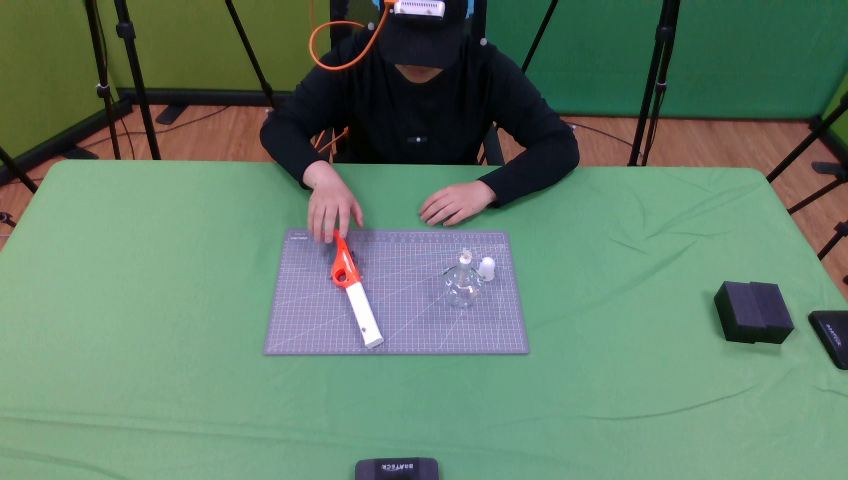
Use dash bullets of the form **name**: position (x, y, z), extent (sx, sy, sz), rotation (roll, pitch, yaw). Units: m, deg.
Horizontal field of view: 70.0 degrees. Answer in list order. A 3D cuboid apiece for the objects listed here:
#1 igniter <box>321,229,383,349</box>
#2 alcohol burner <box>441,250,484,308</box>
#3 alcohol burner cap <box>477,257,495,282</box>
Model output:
- **igniter**: position (-0.134, 0.078, 1.102), extent (0.057, 0.025, 0.274), rotation (-28, 53, 0)
- **alcohol burner**: position (0.069, 0.064, 1.075), extent (0.078, 0.120, 0.077), rotation (1, 45, -1)
- **alcohol burner cap**: position (0.118, 0.053, 1.140), extent (0.034, 0.048, 0.033), rotation (2, 46, -2)
